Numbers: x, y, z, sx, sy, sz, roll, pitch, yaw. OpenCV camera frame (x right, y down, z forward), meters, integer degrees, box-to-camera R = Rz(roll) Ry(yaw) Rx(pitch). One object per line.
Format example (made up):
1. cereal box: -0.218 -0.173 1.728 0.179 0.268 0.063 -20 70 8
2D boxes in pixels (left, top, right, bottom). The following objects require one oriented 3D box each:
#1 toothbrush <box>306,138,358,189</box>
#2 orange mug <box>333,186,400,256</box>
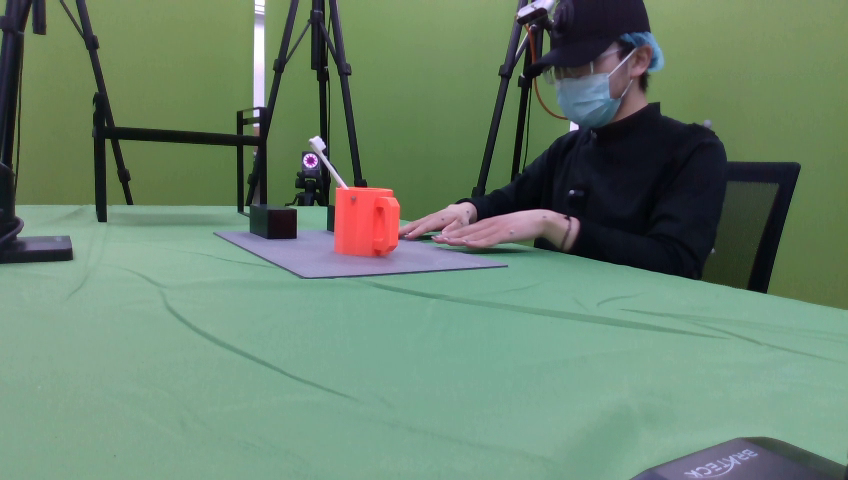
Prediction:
1. toothbrush: -0.107 -0.080 0.892 0.014 0.182 0.016 -39 12 18
2. orange mug: -0.080 -0.029 0.888 0.084 0.100 0.125 -3 5 -40
